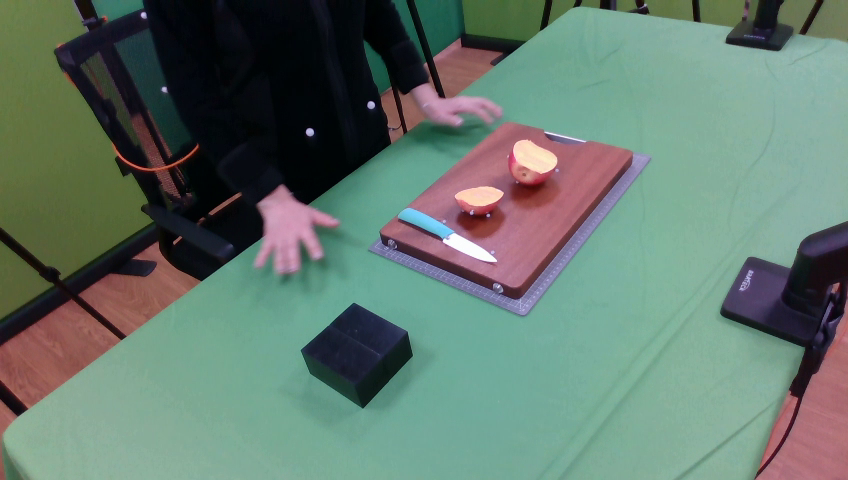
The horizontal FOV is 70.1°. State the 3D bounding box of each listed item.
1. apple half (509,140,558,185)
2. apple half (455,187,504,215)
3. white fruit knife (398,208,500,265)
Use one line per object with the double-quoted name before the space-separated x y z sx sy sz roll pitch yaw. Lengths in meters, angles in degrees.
"apple half" 0.180 -0.124 1.028 0.081 0.053 0.074 26 44 3
"apple half" 0.094 -0.060 0.988 0.081 0.033 0.081 -4 24 2
"white fruit knife" 0.038 -0.007 0.951 0.205 0.016 0.027 29 82 35
